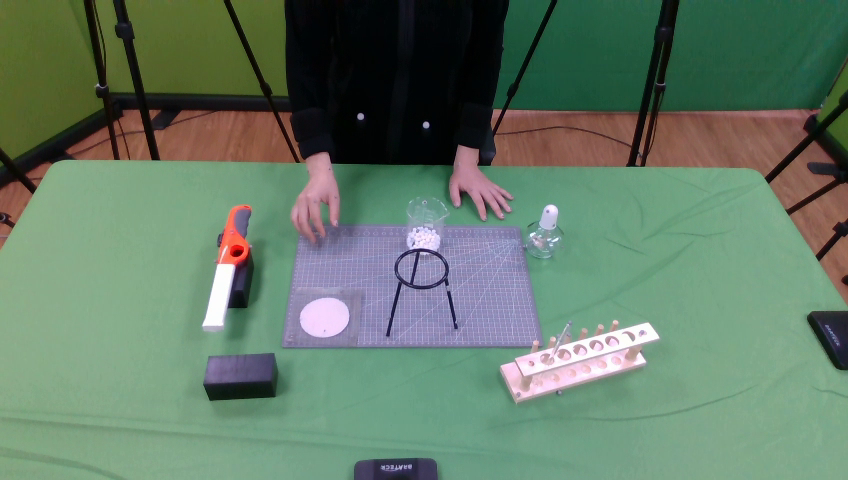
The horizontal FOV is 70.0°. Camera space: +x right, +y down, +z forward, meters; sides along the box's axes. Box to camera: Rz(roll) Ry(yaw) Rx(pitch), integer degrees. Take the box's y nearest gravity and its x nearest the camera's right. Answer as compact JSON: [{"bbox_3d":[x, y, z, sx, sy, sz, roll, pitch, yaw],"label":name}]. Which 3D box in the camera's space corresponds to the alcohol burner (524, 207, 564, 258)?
[{"bbox_3d":[0.236,-0.020,1.174,0.078,0.120,0.077,1,48,-1],"label":"alcohol burner"}]

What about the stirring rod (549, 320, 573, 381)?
[{"bbox_3d":[0.202,0.167,0.901,0.006,0.177,0.014,-17,55,-11],"label":"stirring rod"}]

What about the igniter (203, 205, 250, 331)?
[{"bbox_3d":[-0.345,0.039,1.065,0.057,0.025,0.274,2,49,-6],"label":"igniter"}]

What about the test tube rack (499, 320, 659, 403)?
[{"bbox_3d":[0.252,0.187,0.994,0.243,0.085,0.066,-12,48,-15],"label":"test tube rack"}]

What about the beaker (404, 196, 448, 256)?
[{"bbox_3d":[0.001,-0.024,1.164,0.084,0.101,0.073,5,46,0],"label":"beaker"}]

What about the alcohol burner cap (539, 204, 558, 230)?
[{"bbox_3d":[0.239,-0.045,1.148,0.034,0.048,0.033,1,42,-1],"label":"alcohol burner cap"}]

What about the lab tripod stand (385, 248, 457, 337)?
[{"bbox_3d":[-0.010,0.087,1.032,0.148,0.132,0.147,1,45,-1],"label":"lab tripod stand"}]

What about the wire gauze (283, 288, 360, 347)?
[{"bbox_3d":[-0.178,0.132,1.063,0.125,0.011,0.120,2,46,1],"label":"wire gauze"}]
